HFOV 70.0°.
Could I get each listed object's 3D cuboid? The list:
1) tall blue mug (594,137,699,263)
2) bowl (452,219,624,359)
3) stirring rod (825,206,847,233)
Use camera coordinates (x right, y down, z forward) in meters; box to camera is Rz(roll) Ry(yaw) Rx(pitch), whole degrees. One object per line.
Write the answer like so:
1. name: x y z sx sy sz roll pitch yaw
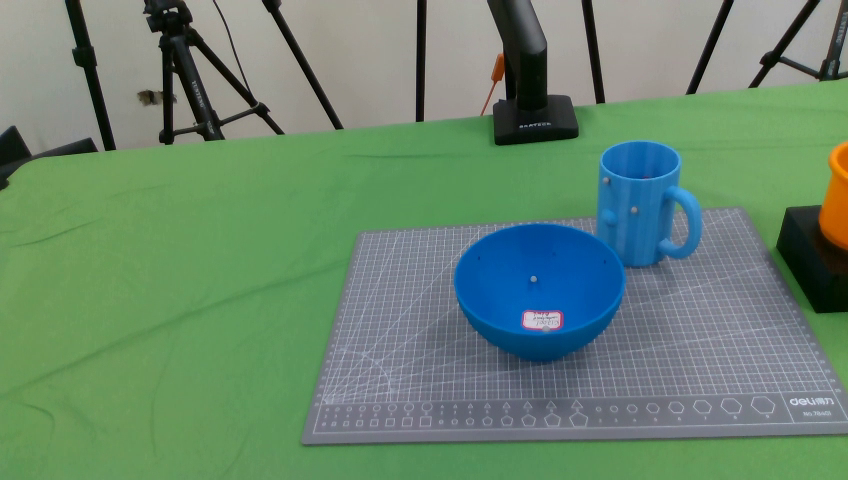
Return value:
1. tall blue mug: 0.231 -0.037 0.622 0.106 0.109 0.077 13 43 27
2. bowl: 0.104 0.056 0.558 0.151 0.077 0.150 -6 38 5
3. stirring rod: 0.425 -0.068 0.519 0.176 0.006 0.014 -47 34 22
